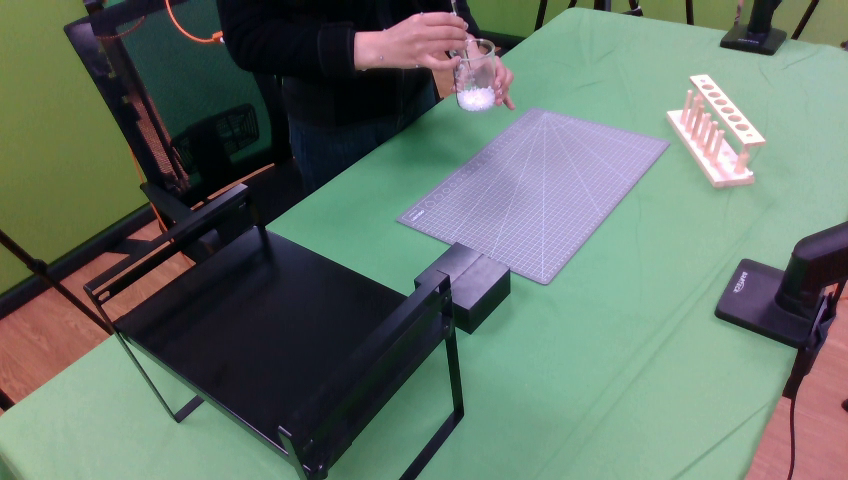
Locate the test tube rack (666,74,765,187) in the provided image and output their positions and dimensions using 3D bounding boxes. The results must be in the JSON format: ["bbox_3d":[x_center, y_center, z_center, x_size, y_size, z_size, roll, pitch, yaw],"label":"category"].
[{"bbox_3d":[0.512,-0.202,1.082,0.067,0.085,0.241,-5,41,2],"label":"test tube rack"}]

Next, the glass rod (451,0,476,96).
[{"bbox_3d":[0.062,-0.316,0.967,0.008,0.201,0.008,-10,44,10],"label":"glass rod"}]

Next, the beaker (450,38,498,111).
[{"bbox_3d":[0.085,-0.277,1.017,0.083,0.101,0.074,26,53,34],"label":"beaker"}]
